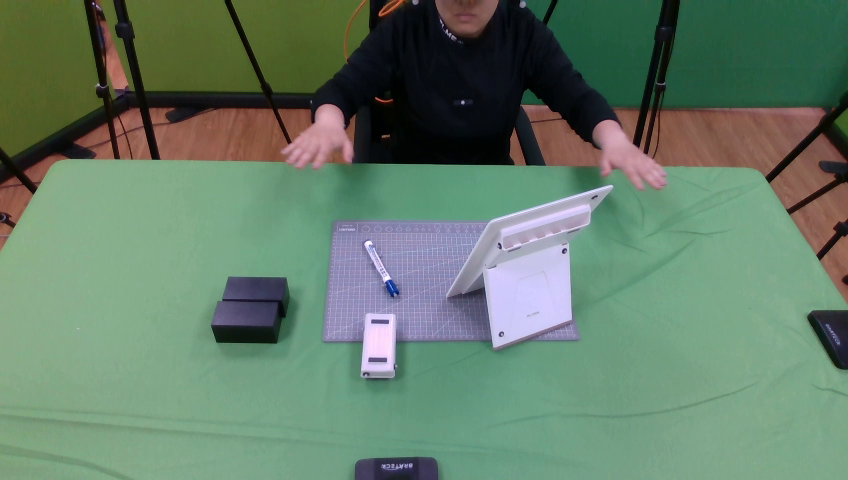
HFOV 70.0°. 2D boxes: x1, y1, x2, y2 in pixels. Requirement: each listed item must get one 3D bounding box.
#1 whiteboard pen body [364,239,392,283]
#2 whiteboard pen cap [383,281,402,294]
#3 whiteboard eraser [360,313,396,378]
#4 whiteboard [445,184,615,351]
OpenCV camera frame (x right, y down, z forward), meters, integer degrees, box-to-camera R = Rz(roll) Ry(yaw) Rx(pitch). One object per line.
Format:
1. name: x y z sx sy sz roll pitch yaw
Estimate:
1. whiteboard pen body: -0.084 0.048 1.143 0.017 0.017 0.140 -16 49 -19
2. whiteboard pen cap: -0.057 0.088 1.104 0.033 0.018 0.018 18 48 11
3. whiteboard eraser: -0.075 0.176 1.006 0.055 0.042 0.112 3 50 -4
4. whiteboard: 0.186 0.065 0.989 0.217 0.306 0.143 -15 68 -18
